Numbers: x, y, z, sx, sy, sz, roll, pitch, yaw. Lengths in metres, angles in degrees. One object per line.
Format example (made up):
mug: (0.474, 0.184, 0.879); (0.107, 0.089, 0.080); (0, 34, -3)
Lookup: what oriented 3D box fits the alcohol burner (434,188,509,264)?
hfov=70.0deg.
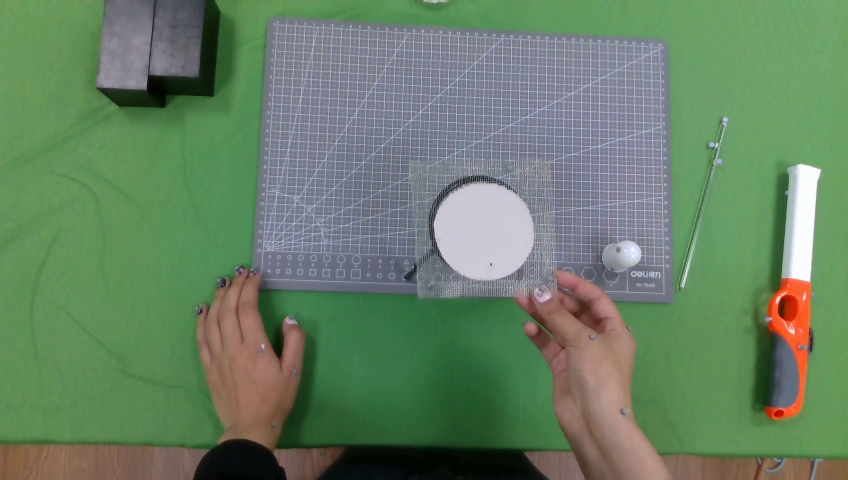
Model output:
alcohol burner: (0.048, -0.018, 0.597); (0.078, 0.119, 0.077); (1, 80, -4)

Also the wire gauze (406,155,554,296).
wire gauze: (0.049, -0.014, 0.519); (0.125, 0.011, 0.121); (-1, 82, -4)

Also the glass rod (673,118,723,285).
glass rod: (0.304, -0.044, 0.672); (0.008, 0.008, 0.199); (19, 82, -1)

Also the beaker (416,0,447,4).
beaker: (0.011, -0.303, 0.642); (0.074, 0.100, 0.084); (-42, 87, -7)

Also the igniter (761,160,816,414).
igniter: (0.396, 0.049, 0.655); (0.057, 0.025, 0.275); (11, 82, -13)

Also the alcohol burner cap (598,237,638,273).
alcohol burner cap: (0.207, 0.014, 0.639); (0.034, 0.048, 0.033); (1, 75, -4)

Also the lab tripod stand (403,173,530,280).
lab tripod stand: (0.043, -0.009, 0.586); (0.148, 0.132, 0.148); (0, 81, -2)
